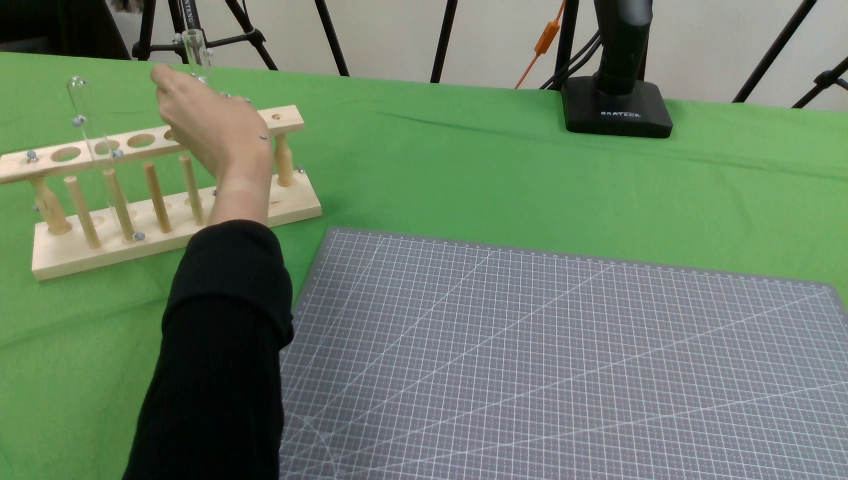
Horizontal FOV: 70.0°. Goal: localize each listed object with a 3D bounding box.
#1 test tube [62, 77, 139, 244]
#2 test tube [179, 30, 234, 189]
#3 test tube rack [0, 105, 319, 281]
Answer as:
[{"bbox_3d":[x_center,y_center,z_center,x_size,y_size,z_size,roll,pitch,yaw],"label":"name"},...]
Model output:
[{"bbox_3d":[-0.254,-0.058,0.480,0.017,0.152,0.017,1,40,-1],"label":"test tube"},{"bbox_3d":[-0.187,-0.107,0.529,0.017,0.151,0.017,0,39,0],"label":"test tube"},{"bbox_3d":[-0.223,-0.046,0.535,0.243,0.086,0.066,-15,44,-18],"label":"test tube rack"}]
